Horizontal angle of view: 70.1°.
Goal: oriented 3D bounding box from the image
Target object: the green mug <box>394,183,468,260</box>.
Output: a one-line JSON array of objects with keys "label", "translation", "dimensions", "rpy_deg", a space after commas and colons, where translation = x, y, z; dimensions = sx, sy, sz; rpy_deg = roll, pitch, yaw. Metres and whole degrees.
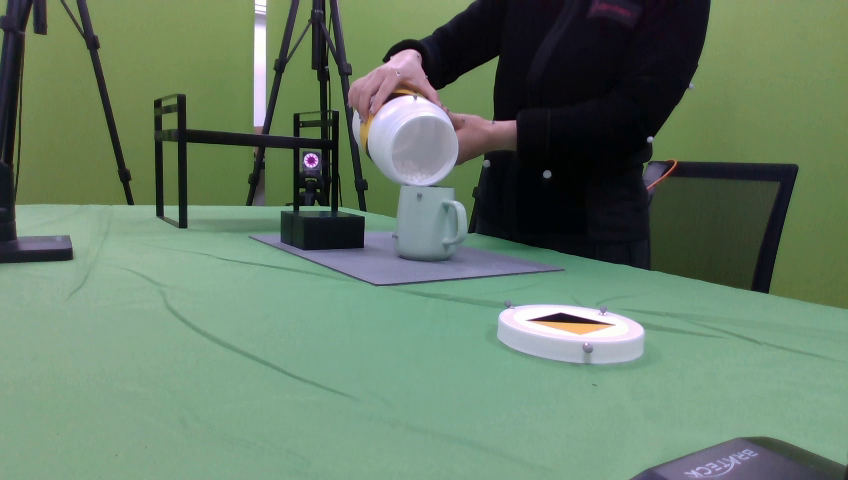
[{"label": "green mug", "translation": [0.015, -0.026, 0.858], "dimensions": [0.093, 0.105, 0.124], "rpy_deg": [-4, 9, -41]}]

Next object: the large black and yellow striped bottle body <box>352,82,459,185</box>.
[{"label": "large black and yellow striped bottle body", "translation": [-0.029, -0.165, 0.940], "dimensions": [0.131, 0.130, 0.183], "rpy_deg": [-1, 24, -21]}]

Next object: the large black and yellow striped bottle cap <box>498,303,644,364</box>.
[{"label": "large black and yellow striped bottle cap", "translation": [0.117, 0.072, 0.486], "dimensions": [0.115, 0.019, 0.115], "rpy_deg": [1, 8, 0]}]
